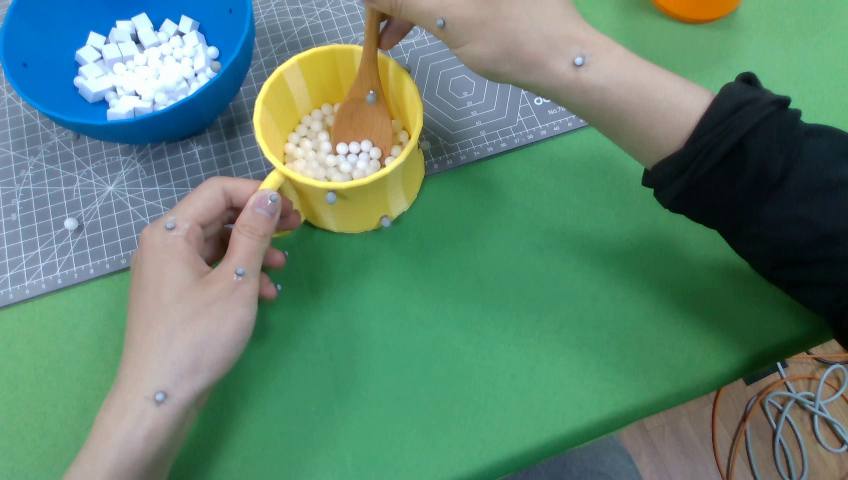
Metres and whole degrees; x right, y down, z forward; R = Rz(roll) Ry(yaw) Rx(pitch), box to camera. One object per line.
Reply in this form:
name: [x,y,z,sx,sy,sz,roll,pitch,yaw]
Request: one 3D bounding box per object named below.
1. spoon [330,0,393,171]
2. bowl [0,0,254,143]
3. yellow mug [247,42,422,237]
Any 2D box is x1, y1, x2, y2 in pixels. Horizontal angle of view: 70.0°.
spoon: [-0.029,-0.122,0.346,0.041,0.195,0.021,16,43,4]
bowl: [-0.179,-0.118,0.396,0.151,0.077,0.150,0,68,0]
yellow mug: [-0.061,-0.053,0.377,0.099,0.064,0.130,36,73,13]
